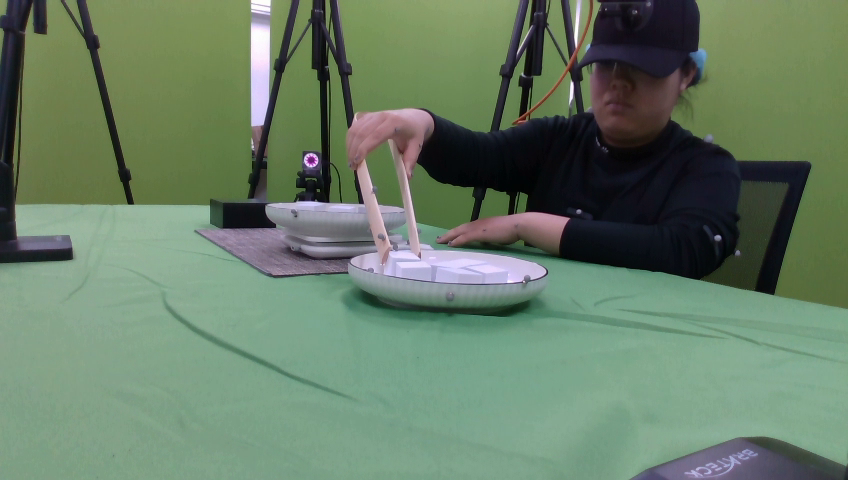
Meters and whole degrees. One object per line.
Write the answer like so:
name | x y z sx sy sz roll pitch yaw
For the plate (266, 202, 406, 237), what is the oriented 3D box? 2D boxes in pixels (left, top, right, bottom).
plate | -0.123 -0.030 0.879 0.208 0.039 0.207 2 6 0

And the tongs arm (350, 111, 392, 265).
tongs arm | -0.062 -0.085 0.781 0.051 0.026 0.383 8 31 -21

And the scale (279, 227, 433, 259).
scale | -0.100 0.001 0.899 0.202 0.031 0.148 -1 9 -31

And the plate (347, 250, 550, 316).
plate | 0.024 0.042 0.627 0.209 0.038 0.209 2 7 0

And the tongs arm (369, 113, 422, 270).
tongs arm | -0.039 -0.081 0.789 0.028 0.028 0.386 7 31 -15
